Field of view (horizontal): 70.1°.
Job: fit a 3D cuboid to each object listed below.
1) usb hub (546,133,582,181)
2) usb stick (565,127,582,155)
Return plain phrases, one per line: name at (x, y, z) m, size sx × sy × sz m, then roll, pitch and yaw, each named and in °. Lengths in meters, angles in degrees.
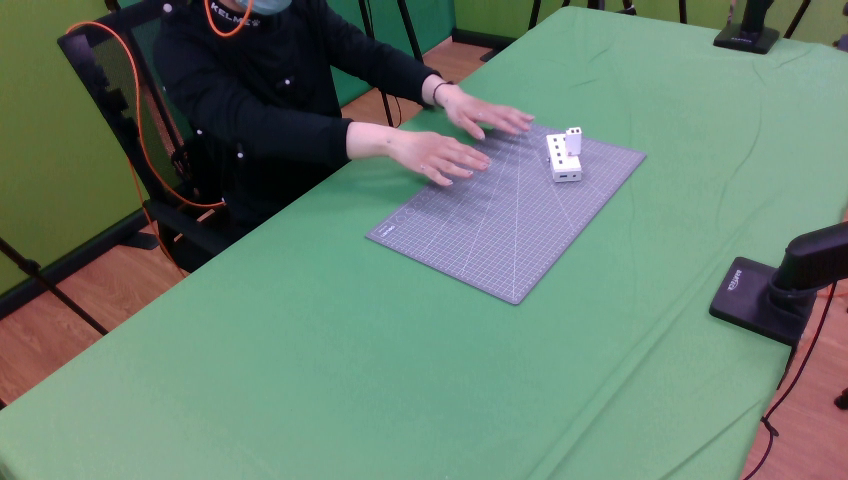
usb hub at (0.255, -0.153, 1.103) m, size 0.049 × 0.025 × 0.124 m, roll -3°, pitch 41°, yaw 4°
usb stick at (0.266, -0.170, 1.077) m, size 0.027 × 0.059 × 0.021 m, roll -3°, pitch 41°, yaw 2°
